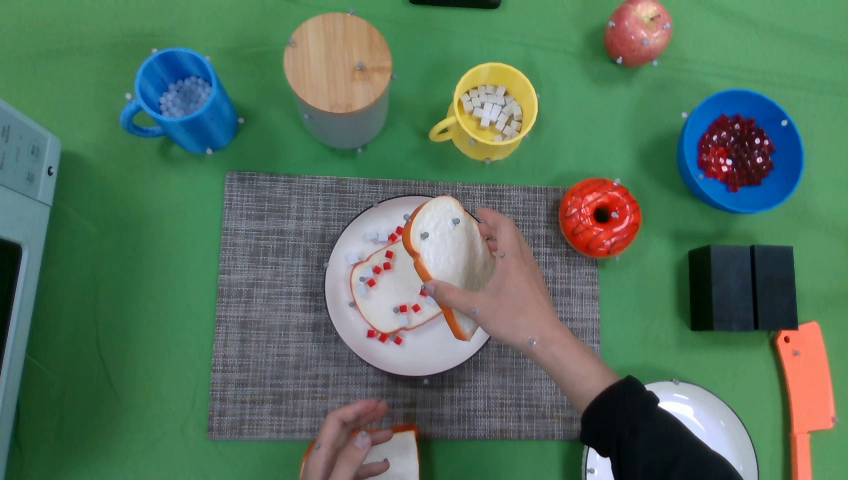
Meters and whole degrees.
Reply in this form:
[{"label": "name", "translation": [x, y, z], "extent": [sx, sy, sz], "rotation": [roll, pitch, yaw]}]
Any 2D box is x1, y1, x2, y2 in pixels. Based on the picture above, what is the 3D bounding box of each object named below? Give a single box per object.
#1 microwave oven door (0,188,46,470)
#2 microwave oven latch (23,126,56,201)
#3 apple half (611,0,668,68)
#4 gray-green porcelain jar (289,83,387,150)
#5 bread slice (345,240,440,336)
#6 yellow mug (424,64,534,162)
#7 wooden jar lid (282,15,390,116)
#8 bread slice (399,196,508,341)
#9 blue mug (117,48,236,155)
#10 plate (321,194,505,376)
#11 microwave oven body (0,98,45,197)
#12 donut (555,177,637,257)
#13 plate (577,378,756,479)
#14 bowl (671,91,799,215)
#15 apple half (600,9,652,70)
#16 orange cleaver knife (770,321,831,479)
[{"label": "microwave oven door", "translation": [-0.434, 0.115, 0.525], "extent": [0.039, 0.244, 0.354], "rotation": [5, 80, -5]}, {"label": "microwave oven latch", "translation": [-0.425, -0.084, 0.660], "extent": [0.030, 0.029, 0.079], "rotation": [7, 81, -5]}, {"label": "apple half", "translation": [0.273, -0.262, 0.763], "extent": [0.053, 0.075, 0.080], "rotation": [-31, 81, -15]}, {"label": "gray-green porcelain jar", "translation": [-0.096, -0.165, 0.682], "extent": [0.106, 0.126, 0.105], "rotation": [1, 80, -6]}, {"label": "bread slice", "translation": [-0.022, 0.051, 0.696], "extent": [0.131, 0.019, 0.104], "rotation": [-25, 84, -8]}, {"label": "yellow mug", "translation": [0.062, -0.145, 0.726], "extent": [0.131, 0.064, 0.099], "rotation": [-22, 84, -8]}, {"label": "wooden jar lid", "translation": [-0.090, -0.176, 0.621], "extent": [0.108, 0.021, 0.108], "rotation": [1, 79, -5]}, {"label": "bread slice", "translation": [0.028, 0.023, 0.616], "extent": [0.135, 0.018, 0.106], "rotation": [55, 45, -18]}, {"label": "blue mug", "translation": [-0.276, -0.143, 0.670], "extent": [0.116, 0.106, 0.082], "rotation": [-23, 83, -9]}, {"label": "plate", "translation": [-0.013, 0.051, 0.698], "extent": [0.208, 0.039, 0.207], "rotation": [1, 81, -6]}, {"label": "microwave oven body", "translation": [-0.576, 0.060, 0.524], "extent": [0.326, 0.260, 0.440], "rotation": [5, 81, -6]}, {"label": "donut", "translation": [0.206, -0.028, 0.730], "extent": [0.099, 0.048, 0.098], "rotation": [1, 82, -6]}, {"label": "plate", "translation": [0.274, 0.264, 0.697], "extent": [0.209, 0.038, 0.208], "rotation": [1, 81, -6]}, {"label": "bowl", "translation": [0.365, -0.097, 0.744], "extent": [0.151, 0.077, 0.151], "rotation": [1, 81, -5]}, {"label": "apple half", "translation": [0.241, -0.241, 0.754], "extent": [0.033, 0.081, 0.081], "rotation": [-31, 85, -14]}, {"label": "orange cleaver knife", "translation": [0.462, 0.204, 0.737], "extent": [0.077, 0.012, 0.210], "rotation": [4, 79, -12]}]
